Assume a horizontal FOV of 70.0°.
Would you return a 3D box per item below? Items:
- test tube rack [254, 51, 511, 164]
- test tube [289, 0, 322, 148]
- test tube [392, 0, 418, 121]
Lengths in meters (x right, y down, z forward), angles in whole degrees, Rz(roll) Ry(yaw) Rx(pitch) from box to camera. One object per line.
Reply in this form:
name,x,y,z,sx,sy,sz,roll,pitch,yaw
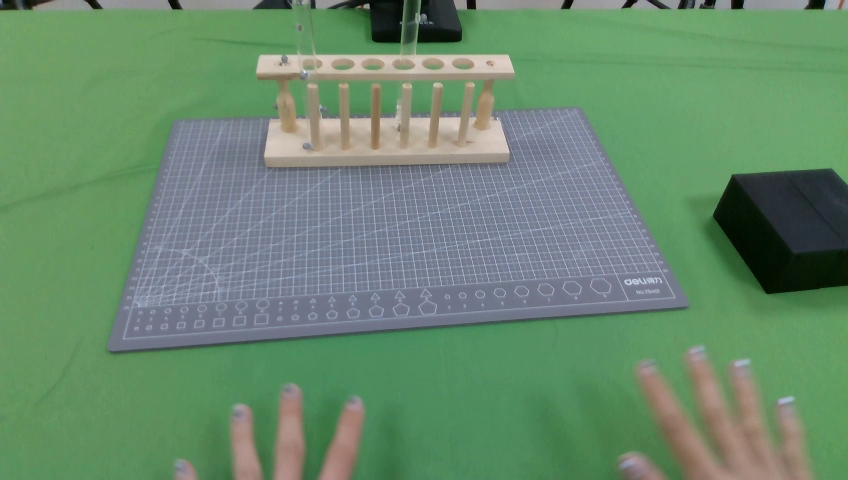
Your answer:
test tube rack,-0.038,-0.131,0.598,0.243,0.086,0.066,-2,46,-6
test tube,-0.106,-0.148,0.548,0.017,0.152,0.017,2,44,-1
test tube,-0.018,-0.179,0.577,0.017,0.151,0.017,4,43,-4
